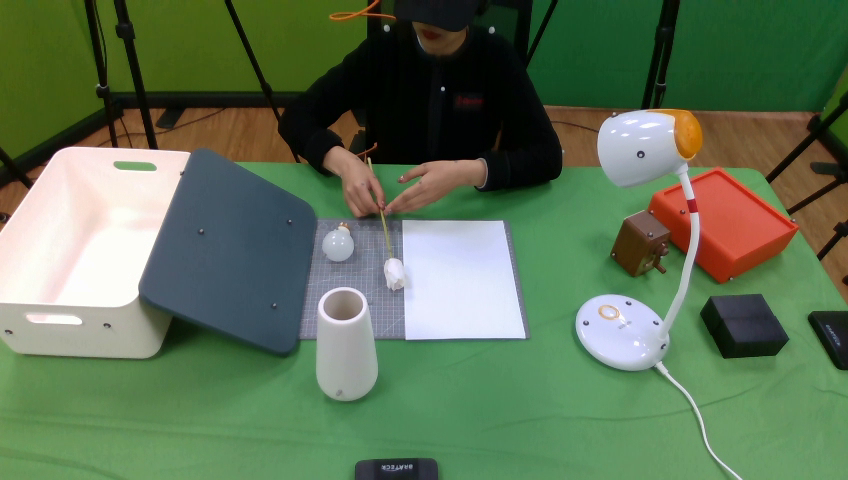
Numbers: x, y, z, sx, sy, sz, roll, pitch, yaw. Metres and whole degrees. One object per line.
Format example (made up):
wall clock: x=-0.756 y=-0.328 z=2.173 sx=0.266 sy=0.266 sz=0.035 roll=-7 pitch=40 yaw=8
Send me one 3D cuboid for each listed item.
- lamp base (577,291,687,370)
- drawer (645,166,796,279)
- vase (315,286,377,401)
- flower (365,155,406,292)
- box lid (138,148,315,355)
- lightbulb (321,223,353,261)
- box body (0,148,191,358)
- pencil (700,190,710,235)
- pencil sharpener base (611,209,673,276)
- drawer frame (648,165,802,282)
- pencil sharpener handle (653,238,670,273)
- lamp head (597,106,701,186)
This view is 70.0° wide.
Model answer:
lamp base: x=0.361 y=0.110 z=1.003 sx=0.160 sy=0.181 sz=0.178 roll=-31 pitch=57 yaw=-28
drawer: x=0.600 y=-0.041 z=1.236 sx=0.195 sy=0.073 sz=0.210 roll=-21 pitch=51 yaw=-23
vase: x=-0.119 y=0.159 z=0.911 sx=0.098 sy=0.201 sz=0.097 roll=2 pitch=47 yaw=-2
flower: x=-0.087 y=-0.049 z=1.209 sx=0.038 sy=0.044 sz=0.359 roll=-12 pitch=52 yaw=-6
box lid: x=-0.321 y=0.008 z=1.063 sx=0.264 sy=0.015 sz=0.369 roll=30 pitch=38 yaw=-28
lightbulb: x=-0.163 y=-0.001 z=1.164 sx=0.059 sy=0.060 sz=0.107 roll=4 pitch=30 yaw=0
box body: x=-0.546 y=0.017 z=1.045 sx=0.254 sy=0.161 sz=0.361 roll=2 pitch=46 yaw=-2
pencil: x=0.584 y=-0.059 z=1.256 sx=0.012 sy=0.012 sz=0.193 roll=16 pitch=35 yaw=12
pencil sharpener base: x=0.416 y=0.007 z=1.158 sx=0.061 sy=0.107 sz=0.076 roll=-21 pitch=51 yaw=-22
drawer frame: x=0.603 y=-0.040 z=1.233 sx=0.202 sy=0.083 sz=0.212 roll=-21 pitch=51 yaw=-23
pencil sharpener handle: x=0.444 y=0.030 z=1.120 sx=0.036 sy=0.068 sz=0.030 roll=-25 pitch=52 yaw=-18
lamp head: x=0.329 y=-0.138 z=0.865 sx=0.112 sy=0.113 sz=0.122 roll=-36 pitch=20 yaw=-32
